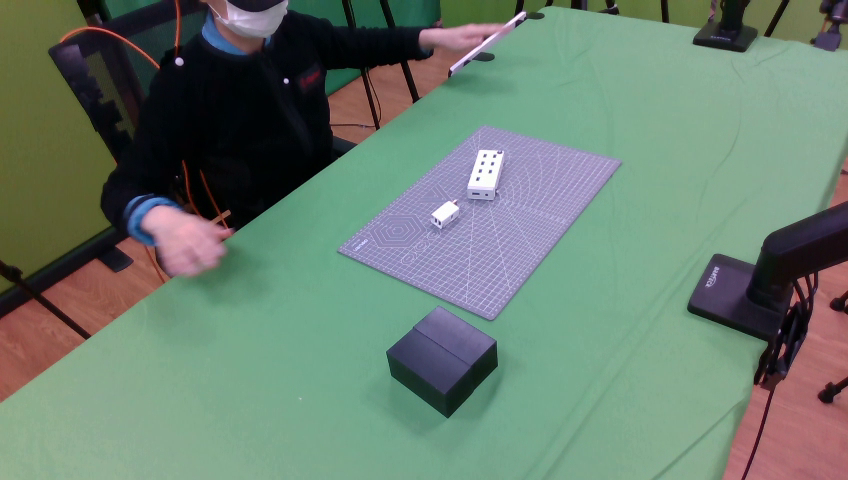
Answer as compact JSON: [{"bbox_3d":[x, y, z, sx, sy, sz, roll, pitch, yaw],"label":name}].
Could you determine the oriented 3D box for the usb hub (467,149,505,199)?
[{"bbox_3d":[0.113,-0.119,1.084,0.049,0.025,0.125,6,42,14],"label":"usb hub"}]

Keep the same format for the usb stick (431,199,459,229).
[{"bbox_3d":[0.039,-0.046,1.009,0.027,0.021,0.059,33,56,24],"label":"usb stick"}]
